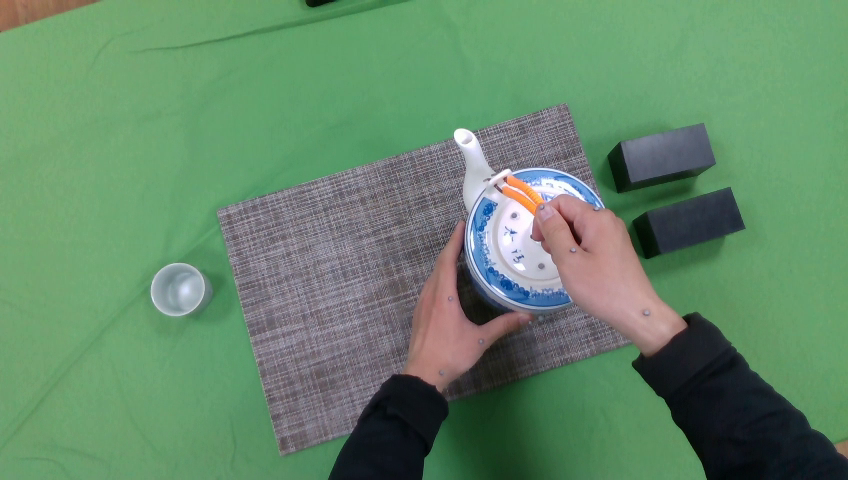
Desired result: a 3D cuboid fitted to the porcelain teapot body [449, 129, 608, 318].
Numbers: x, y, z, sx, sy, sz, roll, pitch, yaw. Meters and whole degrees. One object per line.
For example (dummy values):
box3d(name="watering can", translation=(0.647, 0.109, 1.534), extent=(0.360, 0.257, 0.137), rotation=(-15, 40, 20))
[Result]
box3d(name="porcelain teapot body", translation=(0.090, -0.020, 0.617), extent=(0.145, 0.226, 0.204), rotation=(-40, 82, -5))

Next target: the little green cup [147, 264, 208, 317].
box3d(name="little green cup", translation=(-0.284, 0.060, 0.707), extent=(0.061, 0.039, 0.061), rotation=(0, 80, 1))

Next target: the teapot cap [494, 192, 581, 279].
box3d(name="teapot cap", translation=(0.108, -0.006, 0.574), extent=(0.085, 0.044, 0.085), rotation=(0, 78, 0))
